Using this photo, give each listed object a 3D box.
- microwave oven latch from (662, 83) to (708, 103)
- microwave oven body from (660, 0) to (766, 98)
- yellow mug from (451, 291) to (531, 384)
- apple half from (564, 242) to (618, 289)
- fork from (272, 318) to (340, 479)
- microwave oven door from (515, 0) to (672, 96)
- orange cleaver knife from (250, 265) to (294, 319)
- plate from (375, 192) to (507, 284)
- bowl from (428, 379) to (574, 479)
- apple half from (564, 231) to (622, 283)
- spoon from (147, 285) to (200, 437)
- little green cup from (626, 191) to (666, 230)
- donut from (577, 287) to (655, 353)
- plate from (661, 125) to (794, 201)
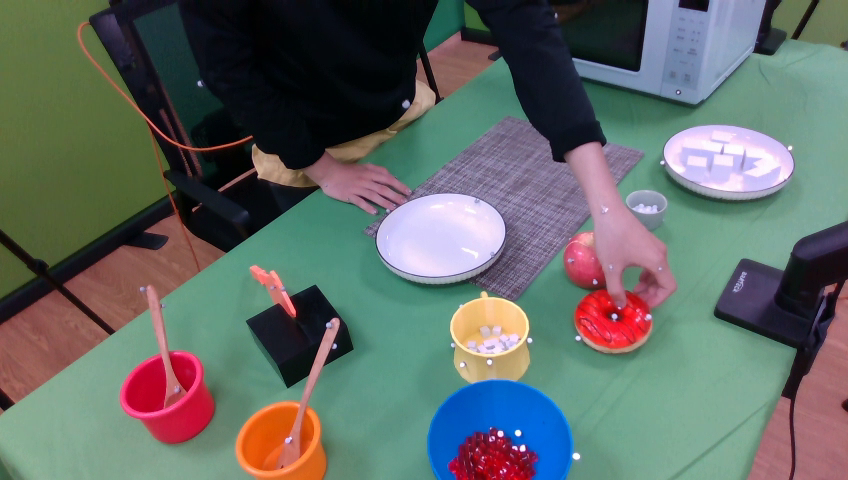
[{"bbox_3d":[0.519,-0.297,1.204,0.030,0.029,0.078,-36,47,-29],"label":"microwave oven latch"},{"bbox_3d":[0.472,-0.513,1.317,0.438,0.261,0.327,26,51,34],"label":"microwave oven body"},{"bbox_3d":[0.086,0.120,0.786,0.100,0.064,0.130,-7,39,1],"label":"yellow mug"},{"bbox_3d":[0.229,0.044,0.848,0.081,0.081,0.033,16,41,25],"label":"apple half"},{"bbox_3d":[-0.131,0.186,0.676,0.028,0.019,0.207,18,90,28],"label":"fork"},{"bbox_3d":[0.343,-0.455,1.259,0.353,0.245,0.039,26,51,33],"label":"microwave oven door"},{"bbox_3d":[-0.221,0.073,0.876,0.012,0.077,0.210,-24,12,-22],"label":"orange cleaver knife"},{"bbox_3d":[0.027,0.000,0.952,0.209,0.038,0.208,-4,40,4],"label":"plate"},{"bbox_3d":[0.082,0.233,0.644,0.151,0.077,0.150,-4,39,4],"label":"bowl"},{"bbox_3d":[0.248,0.021,0.874,0.080,0.075,0.053,13,40,29],"label":"apple half"},{"bbox_3d":[-0.318,0.148,0.754,0.042,0.021,0.193,-16,86,-4],"label":"spoon"},{"bbox_3d":[0.352,-0.046,0.963,0.061,0.039,0.061,-4,40,4],"label":"little green cup"},{"bbox_3d":[0.251,0.103,0.794,0.099,0.048,0.098,-7,47,8],"label":"donut"},{"bbox_3d":[0.514,-0.128,1.035,0.207,0.039,0.206,-4,40,4],"label":"plate"}]
